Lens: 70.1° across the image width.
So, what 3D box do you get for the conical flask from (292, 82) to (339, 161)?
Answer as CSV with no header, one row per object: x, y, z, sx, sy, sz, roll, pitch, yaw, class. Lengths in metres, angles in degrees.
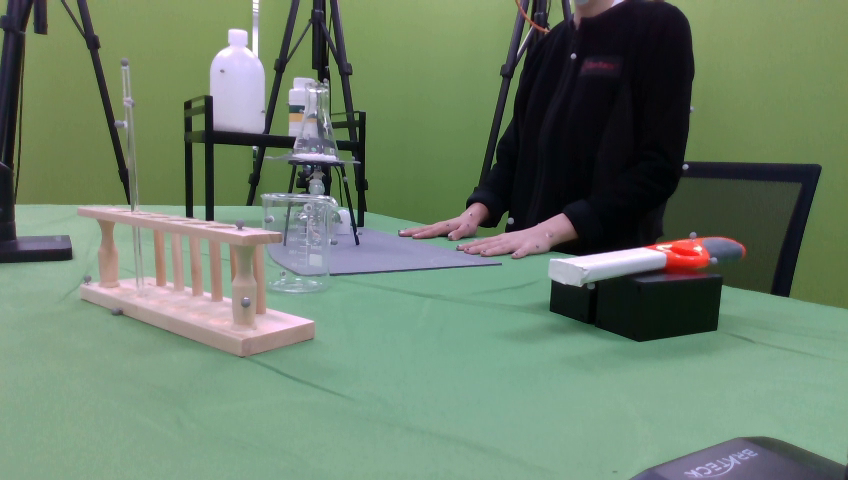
-0.171,-0.185,0.957,0.075,0.122,0.075,2,7,0,conical flask

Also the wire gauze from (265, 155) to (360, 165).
-0.181,-0.128,0.969,0.126,0.011,0.121,-3,7,-26,wire gauze

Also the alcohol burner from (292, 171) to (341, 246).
-0.172,-0.050,0.962,0.078,0.119,0.078,1,5,0,alcohol burner

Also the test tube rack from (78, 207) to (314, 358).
-0.196,0.023,0.500,0.241,0.085,0.067,8,8,37,test tube rack

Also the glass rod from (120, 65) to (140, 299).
-0.249,-0.047,0.513,0.008,0.199,0.008,-1,4,0,glass rod

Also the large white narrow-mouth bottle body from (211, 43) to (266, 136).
-0.361,-0.302,1.176,0.102,0.194,0.102,1,7,0,large white narrow-mouth bottle body

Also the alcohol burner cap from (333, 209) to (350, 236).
-0.151,-0.033,1.116,0.034,0.048,0.034,3,6,0,alcohol burner cap

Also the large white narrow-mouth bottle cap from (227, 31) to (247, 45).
-0.361,-0.388,1.166,0.038,0.024,0.037,1,7,0,large white narrow-mouth bottle cap

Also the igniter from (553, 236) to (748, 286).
0.221,0.017,0.559,0.278,0.025,0.057,-4,14,-39,igniter

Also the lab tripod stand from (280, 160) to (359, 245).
-0.176,-0.062,0.973,0.148,0.131,0.148,1,7,0,lab tripod stand

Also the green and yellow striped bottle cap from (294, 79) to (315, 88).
-0.248,-0.323,1.256,0.045,0.020,0.045,3,9,0,green and yellow striped bottle cap

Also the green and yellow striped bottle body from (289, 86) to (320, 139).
-0.250,-0.272,1.261,0.063,0.119,0.063,3,7,0,green and yellow striped bottle body

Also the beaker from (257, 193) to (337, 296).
-0.130,0.004,0.628,0.084,0.100,0.074,5,8,15,beaker
